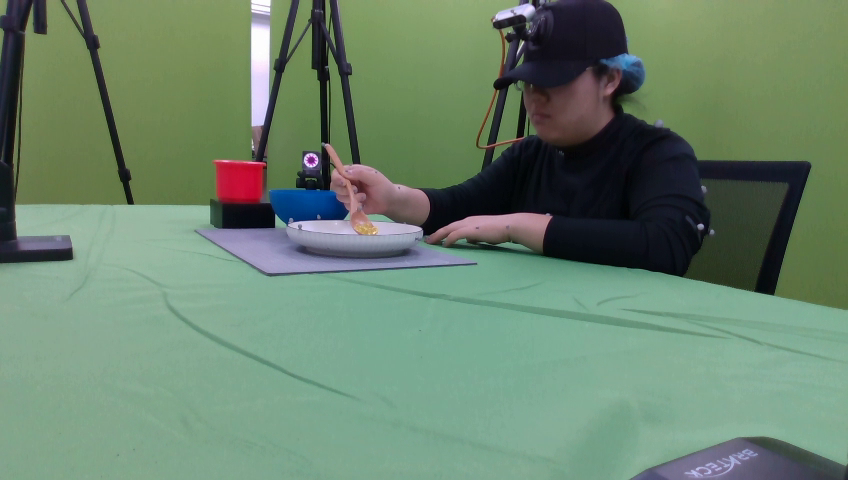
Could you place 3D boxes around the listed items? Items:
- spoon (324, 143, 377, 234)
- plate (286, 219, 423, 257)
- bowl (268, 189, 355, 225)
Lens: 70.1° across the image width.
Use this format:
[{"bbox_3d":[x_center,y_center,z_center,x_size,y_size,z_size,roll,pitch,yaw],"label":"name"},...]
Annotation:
[{"bbox_3d":[-0.120,-0.081,0.959,0.042,0.193,0.021,-3,-30,-40],"label":"spoon"},{"bbox_3d":[-0.105,-0.004,0.922,0.208,0.039,0.207,3,8,0],"label":"plate"},{"bbox_3d":[-0.201,-0.048,1.078,0.151,0.077,0.151,3,7,0],"label":"bowl"}]
